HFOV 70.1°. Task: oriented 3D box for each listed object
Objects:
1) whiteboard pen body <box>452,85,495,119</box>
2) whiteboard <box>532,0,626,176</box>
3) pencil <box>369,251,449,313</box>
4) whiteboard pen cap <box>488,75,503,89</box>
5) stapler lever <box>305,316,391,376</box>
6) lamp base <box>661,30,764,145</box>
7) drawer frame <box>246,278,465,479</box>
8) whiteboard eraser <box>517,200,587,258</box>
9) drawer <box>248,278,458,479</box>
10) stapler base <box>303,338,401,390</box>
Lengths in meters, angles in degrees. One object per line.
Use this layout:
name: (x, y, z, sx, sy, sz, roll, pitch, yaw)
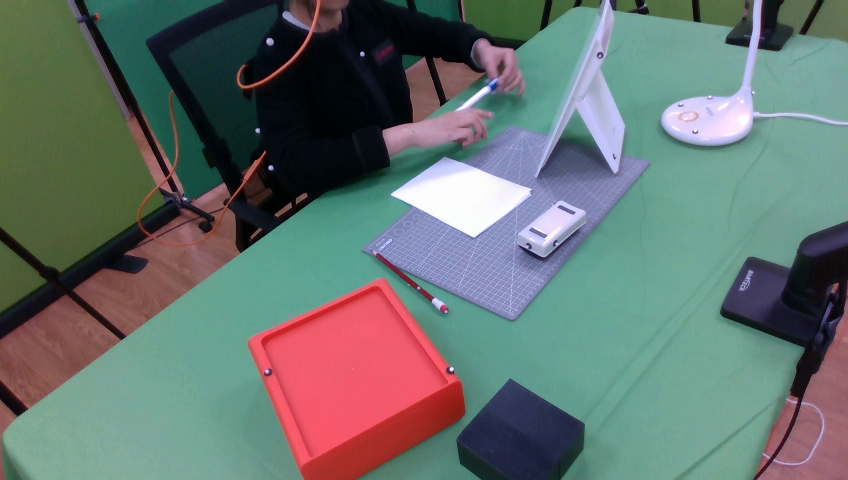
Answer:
whiteboard pen body: (0.107, -0.285, 1.223, 0.017, 0.017, 0.141, 30, 60, 37)
whiteboard: (0.321, -0.258, 1.050, 0.144, 0.306, 0.217, 22, 45, 5)
pencil: (-0.028, 0.060, 0.924, 0.012, 0.012, 0.192, -33, 46, -25)
whiteboard pen cap: (0.148, -0.325, 1.247, 0.018, 0.018, 0.033, 26, 60, 34)
stapler lever: (-0.100, 0.137, 0.789, 0.118, 0.040, 0.026, -23, 44, -12)
lamp base: (0.535, -0.287, 1.096, 0.179, 0.181, 0.159, -10, 40, -4)
drawer frame: (-0.088, 0.168, 0.752, 0.202, 0.083, 0.211, -24, 43, -18)
whiteboard eraser: (0.201, -0.016, 0.943, 0.113, 0.042, 0.055, -37, 46, -29)
drawer: (-0.092, 0.167, 0.756, 0.195, 0.073, 0.210, -24, 43, -18)
stapler base: (-0.096, 0.159, 0.812, 0.131, 0.024, 0.041, -17, 43, -17)
